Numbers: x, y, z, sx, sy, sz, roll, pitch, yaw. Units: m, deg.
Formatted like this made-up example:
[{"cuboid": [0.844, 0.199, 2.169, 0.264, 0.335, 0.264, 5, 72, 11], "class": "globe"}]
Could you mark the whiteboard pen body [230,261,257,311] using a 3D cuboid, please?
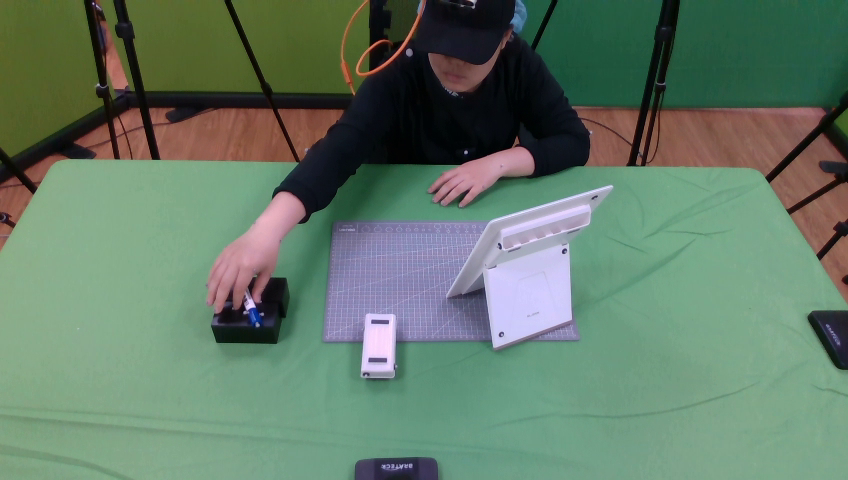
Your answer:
[{"cuboid": [-0.303, 0.087, 1.024, 0.017, 0.017, 0.140, -19, 50, -21], "class": "whiteboard pen body"}]

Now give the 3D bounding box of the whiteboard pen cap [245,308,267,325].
[{"cuboid": [-0.273, 0.126, 0.986, 0.033, 0.018, 0.018, 30, 49, 1], "class": "whiteboard pen cap"}]

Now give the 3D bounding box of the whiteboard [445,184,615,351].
[{"cuboid": [0.187, 0.065, 0.989, 0.217, 0.306, 0.143, -15, 68, -18], "class": "whiteboard"}]

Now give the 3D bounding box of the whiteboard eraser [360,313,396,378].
[{"cuboid": [-0.075, 0.176, 1.006, 0.055, 0.042, 0.112, 3, 50, -4], "class": "whiteboard eraser"}]
